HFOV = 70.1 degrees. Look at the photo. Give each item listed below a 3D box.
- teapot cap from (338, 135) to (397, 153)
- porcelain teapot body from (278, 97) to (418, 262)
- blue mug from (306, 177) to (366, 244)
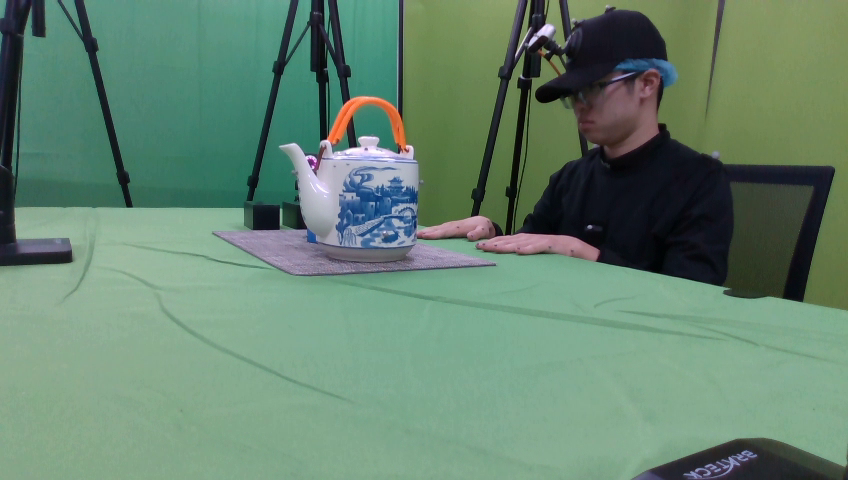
[{"bbox_3d":[-0.080,-0.127,0.854,0.085,0.044,0.085,0,6,0],"label":"teapot cap"},{"bbox_3d":[-0.104,-0.086,0.842,0.206,0.225,0.144,-4,10,-38],"label":"porcelain teapot body"},{"bbox_3d":[-0.144,-0.052,1.027,0.082,0.106,0.117,9,10,42],"label":"blue mug"}]
